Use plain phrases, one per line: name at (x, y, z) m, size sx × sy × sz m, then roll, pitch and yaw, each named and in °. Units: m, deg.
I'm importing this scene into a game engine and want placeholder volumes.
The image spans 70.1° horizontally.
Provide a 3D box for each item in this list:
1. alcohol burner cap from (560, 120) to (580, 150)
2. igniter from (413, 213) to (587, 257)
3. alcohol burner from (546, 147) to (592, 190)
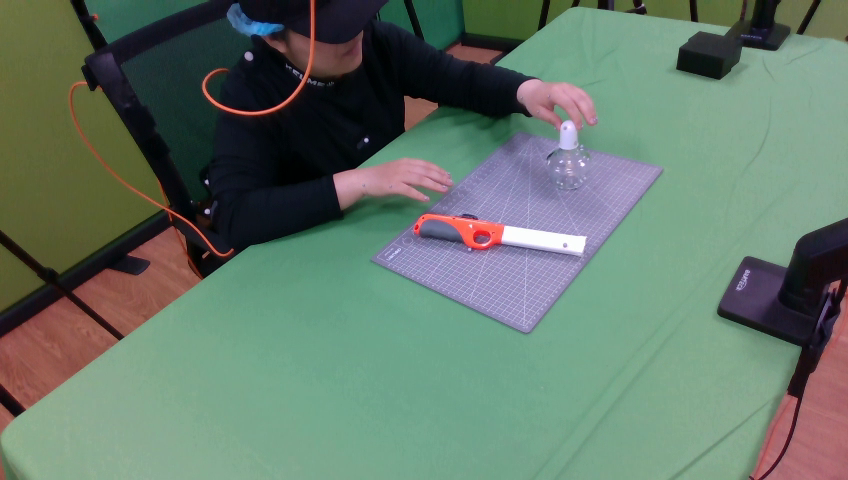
alcohol burner cap at (0.243, -0.177, 1.007) m, size 0.034 × 0.048 × 0.033 m, roll -7°, pitch 39°, yaw 6°
igniter at (0.116, -0.009, 0.959) m, size 0.275 × 0.025 × 0.057 m, roll 8°, pitch 65°, yaw 17°
alcohol burner at (0.248, -0.147, 1.034) m, size 0.078 × 0.120 × 0.077 m, roll -7°, pitch 41°, yaw 6°
